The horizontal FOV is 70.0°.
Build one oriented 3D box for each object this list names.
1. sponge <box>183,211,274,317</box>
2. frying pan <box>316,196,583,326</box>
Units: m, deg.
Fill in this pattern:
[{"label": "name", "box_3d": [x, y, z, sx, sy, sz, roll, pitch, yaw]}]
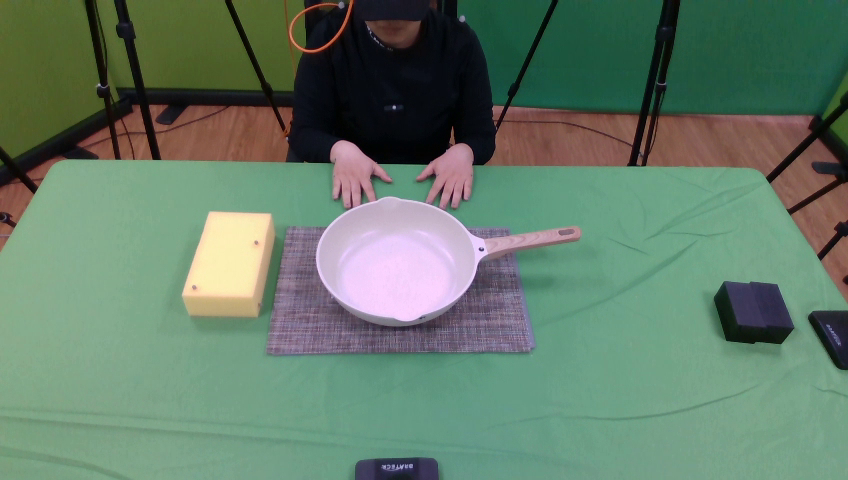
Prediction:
[{"label": "sponge", "box_3d": [-0.351, 0.041, 1.107, 0.118, 0.061, 0.205, 1, 46, -3]}, {"label": "frying pan", "box_3d": [0.054, 0.027, 1.114, 0.488, 0.103, 0.304, -9, 48, -1]}]
